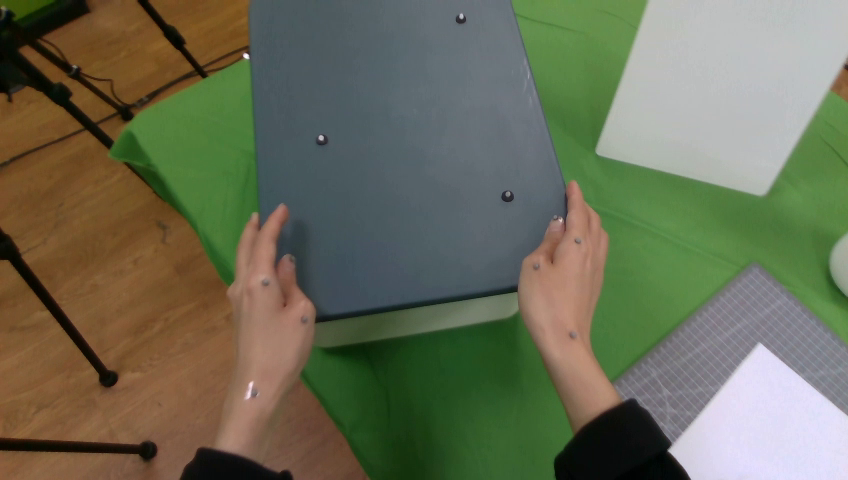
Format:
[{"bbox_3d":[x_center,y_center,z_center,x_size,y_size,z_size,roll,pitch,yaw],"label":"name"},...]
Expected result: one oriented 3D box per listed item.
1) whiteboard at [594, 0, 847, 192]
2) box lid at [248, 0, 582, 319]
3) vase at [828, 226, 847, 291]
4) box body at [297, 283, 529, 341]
[{"bbox_3d":[0.359,-0.241,0.718,0.217,0.308,0.143,16,43,7],"label":"whiteboard"},{"bbox_3d":[-0.024,-0.118,0.557,0.263,0.015,0.368,-9,65,-4],"label":"box lid"},{"bbox_3d":[0.516,-0.011,0.626,0.098,0.201,0.097,1,60,-1],"label":"vase"},{"bbox_3d":[-0.036,-0.087,0.668,0.254,0.161,0.360,-9,63,-6],"label":"box body"}]
